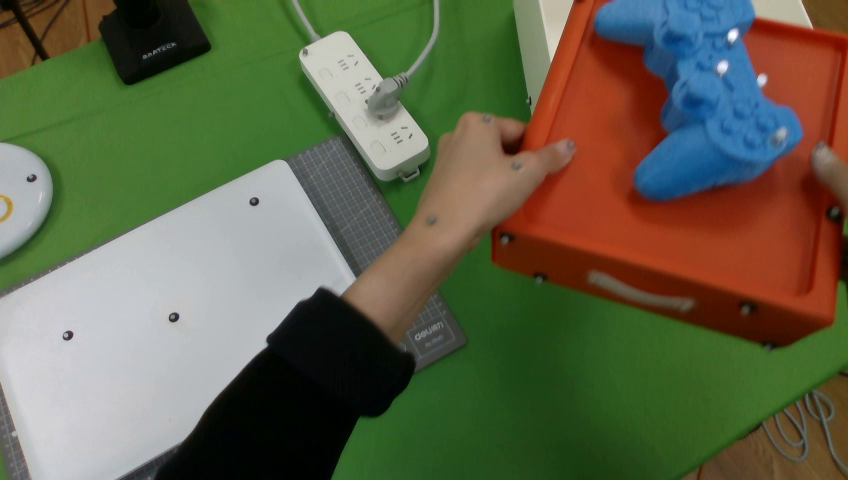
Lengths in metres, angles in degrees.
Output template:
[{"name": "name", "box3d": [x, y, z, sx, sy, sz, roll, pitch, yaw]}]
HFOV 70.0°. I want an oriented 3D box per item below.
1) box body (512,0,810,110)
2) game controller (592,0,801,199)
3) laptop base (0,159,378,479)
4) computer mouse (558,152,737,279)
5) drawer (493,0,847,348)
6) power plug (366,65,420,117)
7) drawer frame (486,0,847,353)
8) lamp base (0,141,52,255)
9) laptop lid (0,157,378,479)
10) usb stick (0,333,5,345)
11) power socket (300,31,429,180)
[{"name": "box body", "box3d": [0.242, -0.209, 0.666, 0.254, 0.161, 0.361, -5, 66, 0]}, {"name": "game controller", "box3d": [0.170, -0.105, 0.382, 0.097, 0.052, 0.154, -4, 68, -2]}, {"name": "laptop base", "box3d": [-0.253, 0.080, 0.632, 0.354, 0.023, 0.234, -30, 72, -11]}, {"name": "computer mouse", "box3d": [0.155, -0.021, 0.423, 0.116, 0.041, 0.062, 24, 74, 18]}, {"name": "drawer", "box3d": [0.171, -0.055, 0.420, 0.194, 0.074, 0.210, 17, 69, 13]}, {"name": "power plug", "box3d": [-0.032, -0.165, 0.702, 0.072, 0.053, 0.035, -19, 65, -8]}, {"name": "drawer frame", "box3d": [0.170, -0.058, 0.418, 0.201, 0.083, 0.212, 16, 69, 12]}, {"name": "lamp base", "box3d": [-0.524, -0.081, 0.627, 0.178, 0.182, 0.160, 18, 67, 13]}, {"name": "laptop lid", "box3d": [-0.252, 0.077, 0.621, 0.357, 0.013, 0.240, -28, 70, -10]}, {"name": "usb stick", "box3d": [-0.458, 0.110, 0.612, 0.059, 0.027, 0.021, -26, 63, -12]}, {"name": "power socket", "box3d": [-0.074, -0.166, 0.729, 0.072, 0.033, 0.225, -30, 68, -12]}]
